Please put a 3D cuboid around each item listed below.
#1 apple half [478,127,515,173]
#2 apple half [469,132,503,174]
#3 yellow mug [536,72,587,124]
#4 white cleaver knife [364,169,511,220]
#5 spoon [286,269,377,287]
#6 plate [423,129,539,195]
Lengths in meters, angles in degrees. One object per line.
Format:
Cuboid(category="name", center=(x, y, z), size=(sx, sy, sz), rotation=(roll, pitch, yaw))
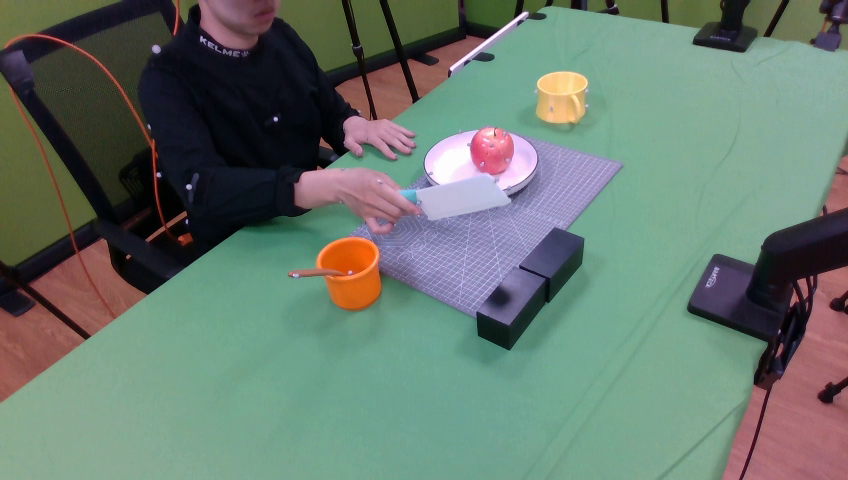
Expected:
Cuboid(category="apple half", center=(0.132, -0.164, 1.085), size=(0.053, 0.075, 0.080), rotation=(-28, 41, -28))
Cuboid(category="apple half", center=(0.102, -0.146, 1.067), size=(0.033, 0.081, 0.080), rotation=(-29, 44, -29))
Cuboid(category="yellow mug", center=(0.284, -0.281, 1.222), size=(0.100, 0.064, 0.130), rotation=(-16, 42, -9))
Cuboid(category="white cleaver knife", center=(0.007, -0.055, 0.896), size=(0.284, 0.066, 0.021), rotation=(-7, 34, 47))
Cuboid(category="spoon", center=(-0.125, 0.049, 0.831), size=(0.041, 0.195, 0.021), rotation=(22, 93, 28))
Cuboid(category="plate", center=(0.103, -0.132, 1.092), size=(0.209, 0.038, 0.208), rotation=(-4, 41, 4))
